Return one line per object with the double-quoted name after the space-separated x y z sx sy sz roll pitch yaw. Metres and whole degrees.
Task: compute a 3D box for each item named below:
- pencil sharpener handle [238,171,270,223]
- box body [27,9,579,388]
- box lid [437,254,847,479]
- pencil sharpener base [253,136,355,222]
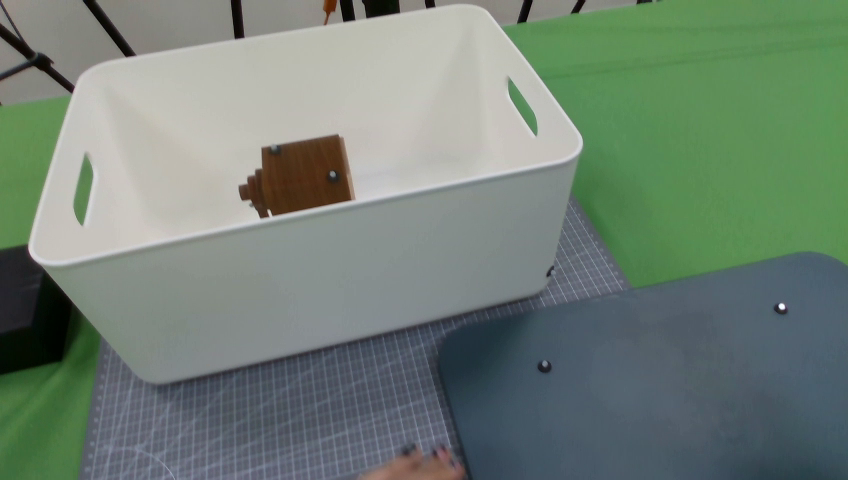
-0.150 -0.026 0.516 0.031 0.068 0.035 -11 49 -6 "pencil sharpener handle"
-0.087 -0.046 0.520 0.365 0.162 0.251 -13 46 -8 "box body"
0.209 0.135 0.430 0.372 0.015 0.260 -11 46 -8 "box lid"
-0.099 -0.027 0.531 0.077 0.108 0.060 -11 47 -6 "pencil sharpener base"
